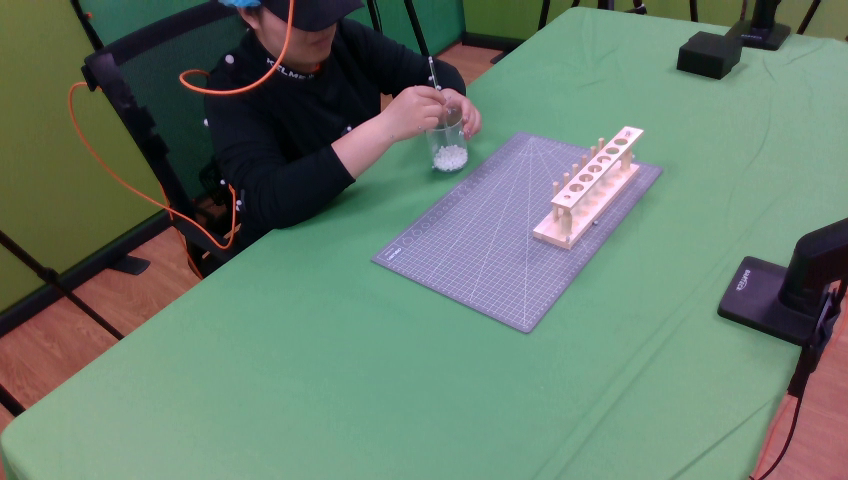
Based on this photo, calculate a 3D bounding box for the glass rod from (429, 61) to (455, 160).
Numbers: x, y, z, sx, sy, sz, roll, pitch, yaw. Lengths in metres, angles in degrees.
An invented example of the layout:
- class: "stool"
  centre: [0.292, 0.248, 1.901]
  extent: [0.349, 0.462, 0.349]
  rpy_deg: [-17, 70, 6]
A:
- class: "glass rod"
  centre: [0.033, -0.228, 1.089]
  extent: [0.008, 0.201, 0.008]
  rpy_deg: [-10, 38, 8]

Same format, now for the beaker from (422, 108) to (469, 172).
- class: "beaker"
  centre: [0.043, -0.185, 1.120]
  extent: [0.073, 0.101, 0.084]
  rpy_deg: [7, 46, 21]

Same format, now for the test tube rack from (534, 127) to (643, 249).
- class: "test tube rack"
  centre: [0.271, -0.094, 0.990]
  extent: [0.066, 0.085, 0.243]
  rpy_deg: [23, 50, 34]
